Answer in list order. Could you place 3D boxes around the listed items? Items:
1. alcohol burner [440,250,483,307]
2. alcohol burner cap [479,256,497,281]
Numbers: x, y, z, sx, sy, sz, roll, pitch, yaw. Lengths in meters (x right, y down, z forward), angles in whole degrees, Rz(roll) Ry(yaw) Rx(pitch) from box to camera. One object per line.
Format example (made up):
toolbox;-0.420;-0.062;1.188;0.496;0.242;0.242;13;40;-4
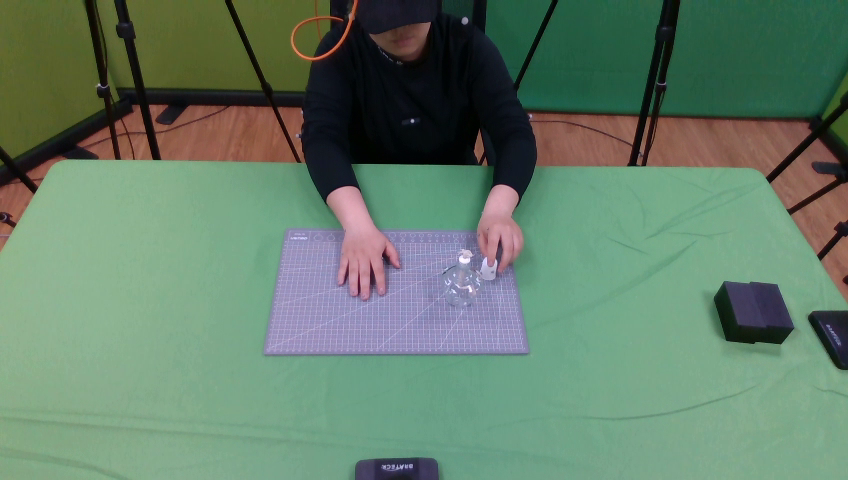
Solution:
alcohol burner;0.068;0.064;1.076;0.078;0.120;0.077;1;45;-1
alcohol burner cap;0.122;0.051;1.142;0.034;0.048;0.033;2;46;-2
